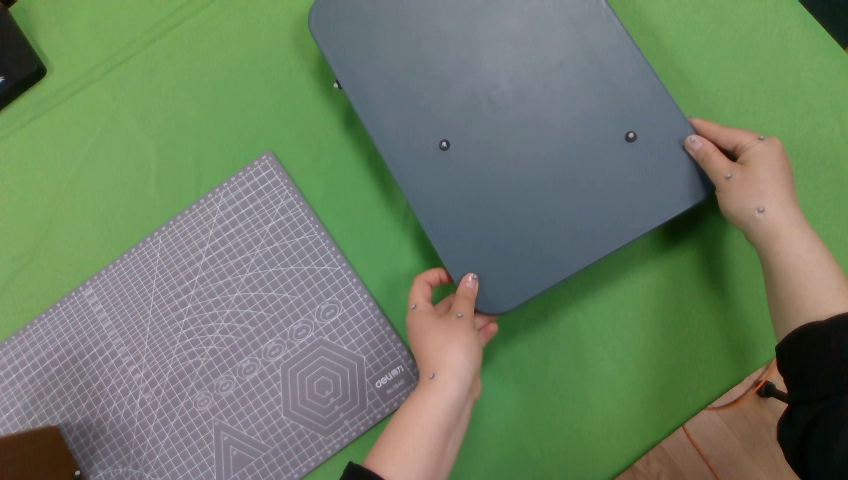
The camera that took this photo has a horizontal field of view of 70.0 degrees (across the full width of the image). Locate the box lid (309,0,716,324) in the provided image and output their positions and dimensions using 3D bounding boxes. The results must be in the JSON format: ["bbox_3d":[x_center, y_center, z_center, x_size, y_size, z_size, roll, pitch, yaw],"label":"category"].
[{"bbox_3d":[0.074,-0.134,0.585,0.263,0.015,0.370,-31,80,1],"label":"box lid"}]

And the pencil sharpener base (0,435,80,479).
[{"bbox_3d":[-0.389,0.238,0.571,0.061,0.107,0.076,-35,80,-1],"label":"pencil sharpener base"}]
